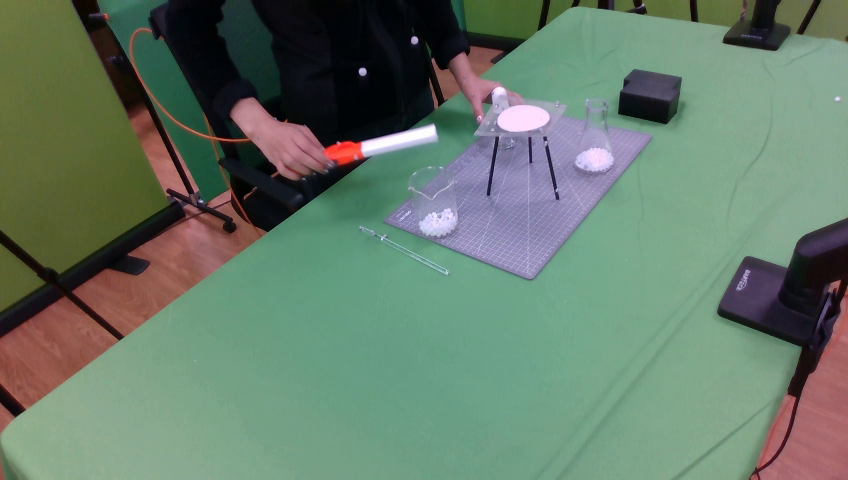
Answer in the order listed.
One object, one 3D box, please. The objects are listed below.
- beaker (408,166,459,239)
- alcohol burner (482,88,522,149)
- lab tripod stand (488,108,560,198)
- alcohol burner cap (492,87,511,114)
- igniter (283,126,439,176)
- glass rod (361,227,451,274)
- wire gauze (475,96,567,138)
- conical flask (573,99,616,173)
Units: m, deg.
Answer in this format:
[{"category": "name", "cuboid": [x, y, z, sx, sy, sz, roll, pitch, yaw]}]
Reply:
[{"category": "beaker", "cuboid": [0.018, -0.057, 0.984, 0.074, 0.101, 0.083, -6, 41, 5]}, {"category": "alcohol burner", "cuboid": [0.149, -0.237, 1.160, 0.078, 0.119, 0.077, -4, 39, 4]}, {"category": "lab tripod stand", "cuboid": [0.173, -0.150, 1.037, 0.148, 0.132, 0.147, -6, 38, 6]}, {"category": "alcohol burner cap", "cuboid": [0.144, -0.264, 1.136, 0.034, 0.048, 0.033, -10, 39, 8]}, {"category": "igniter", "cuboid": [-0.111, -0.150, 1.025, 0.276, 0.025, 0.057, -11, 42, 9]}, {"category": "glass rod", "cuboid": [-0.033, 0.014, 0.985, 0.198, 0.008, 0.008, 25, 52, 34]}, {"category": "wire gauze", "cuboid": [0.161, -0.201, 0.994, 0.121, 0.011, 0.125, 11, 43, 23]}, {"category": "conical flask", "cuboid": [0.301, -0.184, 1.061, 0.075, 0.122, 0.075, -5, 40, 5]}]
